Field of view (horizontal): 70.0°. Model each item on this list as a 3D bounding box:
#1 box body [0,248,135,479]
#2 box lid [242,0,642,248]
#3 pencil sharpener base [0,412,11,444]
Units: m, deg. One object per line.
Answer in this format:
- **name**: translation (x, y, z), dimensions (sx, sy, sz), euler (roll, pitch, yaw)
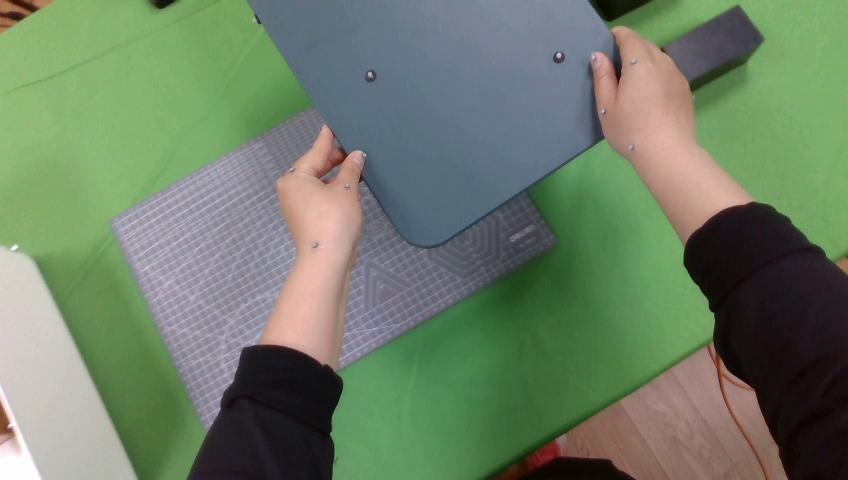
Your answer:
- **box body**: translation (-0.498, 0.199, 0.623), dimensions (0.254, 0.161, 0.362), euler (-33, 77, -2)
- **box lid**: translation (-0.001, -0.205, 0.568), dimensions (0.263, 0.015, 0.370), euler (-34, 82, -1)
- **pencil sharpener base**: translation (-0.512, 0.203, 0.645), dimensions (0.061, 0.107, 0.076), euler (-32, 78, -3)
